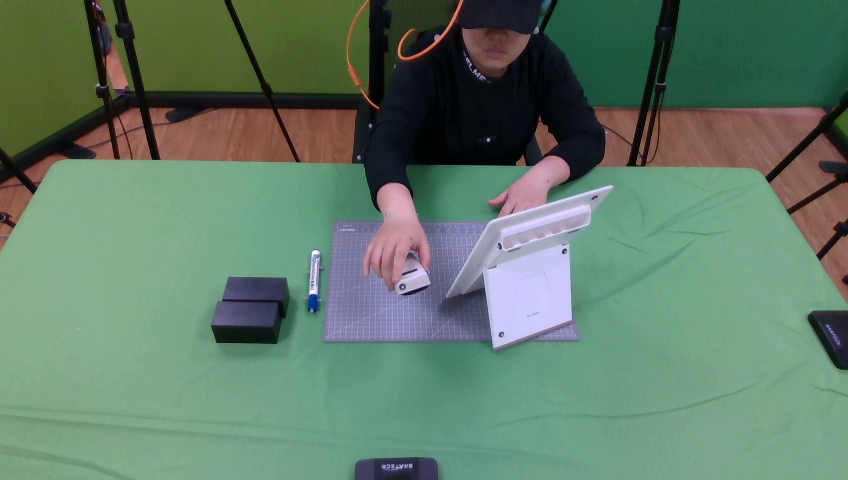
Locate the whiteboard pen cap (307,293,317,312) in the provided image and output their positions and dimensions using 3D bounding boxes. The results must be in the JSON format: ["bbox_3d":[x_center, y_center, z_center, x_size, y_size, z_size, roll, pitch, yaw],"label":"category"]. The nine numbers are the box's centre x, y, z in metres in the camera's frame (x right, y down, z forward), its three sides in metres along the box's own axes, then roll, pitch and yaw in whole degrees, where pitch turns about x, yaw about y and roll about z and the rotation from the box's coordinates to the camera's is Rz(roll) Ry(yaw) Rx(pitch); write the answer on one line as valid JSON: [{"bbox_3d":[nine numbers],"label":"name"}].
[{"bbox_3d":[-0.199,0.110,1.078,0.018,0.018,0.033,-2,47,-6],"label":"whiteboard pen cap"}]

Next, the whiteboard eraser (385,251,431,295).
[{"bbox_3d":[-0.028,0.056,0.998,0.055,0.042,0.112,-15,19,-9],"label":"whiteboard eraser"}]

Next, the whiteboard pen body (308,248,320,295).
[{"bbox_3d":[-0.204,0.069,1.119,0.017,0.017,0.140,-1,46,-5],"label":"whiteboard pen body"}]

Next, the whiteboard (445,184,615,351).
[{"bbox_3d":[0.187,0.065,0.989,0.217,0.306,0.143,-15,68,-18],"label":"whiteboard"}]
